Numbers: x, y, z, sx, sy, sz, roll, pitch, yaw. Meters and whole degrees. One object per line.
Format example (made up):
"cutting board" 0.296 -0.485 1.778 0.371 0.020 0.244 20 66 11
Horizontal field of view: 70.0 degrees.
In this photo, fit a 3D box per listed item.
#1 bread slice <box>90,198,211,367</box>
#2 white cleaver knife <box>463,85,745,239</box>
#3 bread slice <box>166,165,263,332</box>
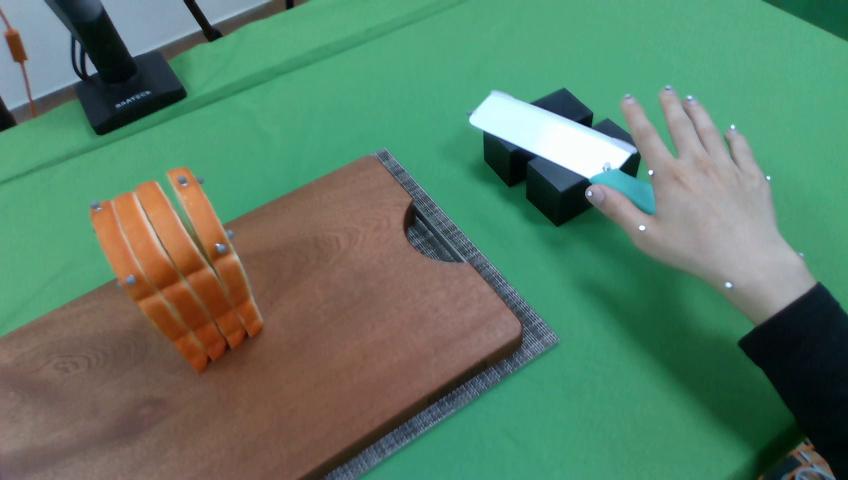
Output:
"bread slice" -0.215 0.028 0.477 0.018 0.135 0.106 -31 52 -15
"white cleaver knife" 0.159 -0.085 0.565 0.284 0.022 0.066 33 64 26
"bread slice" -0.170 0.003 0.491 0.019 0.133 0.104 -28 55 -21
